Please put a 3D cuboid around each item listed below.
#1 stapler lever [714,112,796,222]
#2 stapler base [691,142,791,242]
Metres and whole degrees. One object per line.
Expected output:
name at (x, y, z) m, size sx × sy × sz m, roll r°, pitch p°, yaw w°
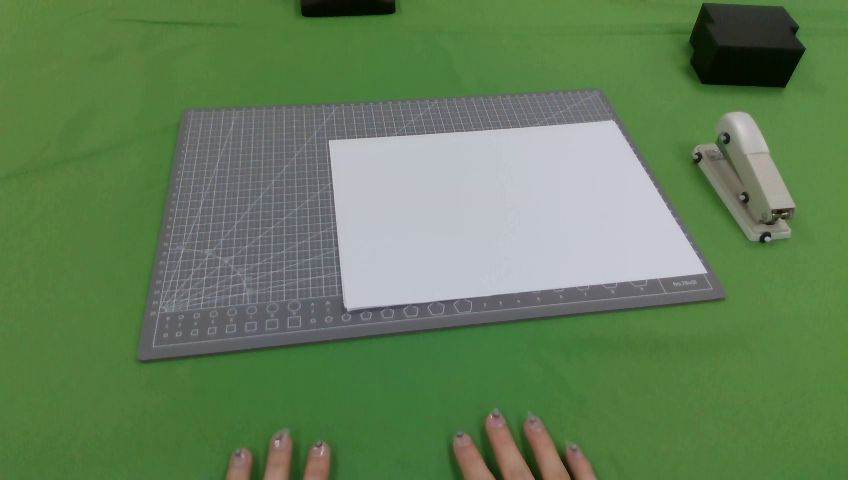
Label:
stapler lever at (0.299, -0.070, 0.549) m, size 0.027 × 0.040 × 0.117 m, roll -7°, pitch 50°, yaw -6°
stapler base at (0.298, -0.054, 0.570) m, size 0.041 × 0.024 × 0.129 m, roll -6°, pitch 50°, yaw -6°
